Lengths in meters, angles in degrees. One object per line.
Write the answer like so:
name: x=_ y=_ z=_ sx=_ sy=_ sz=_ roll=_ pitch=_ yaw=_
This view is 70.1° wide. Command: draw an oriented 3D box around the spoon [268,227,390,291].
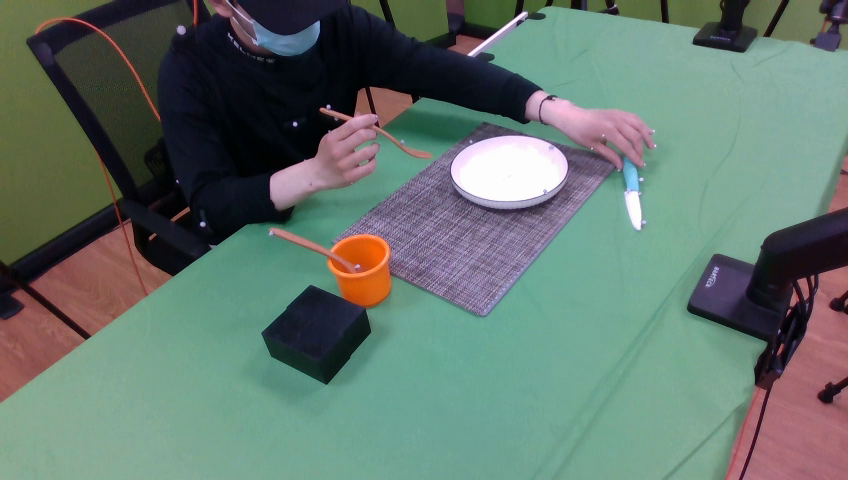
spoon: x=-0.132 y=0.025 z=0.862 sx=0.021 sy=0.195 sz=0.041 roll=-40 pitch=31 yaw=32

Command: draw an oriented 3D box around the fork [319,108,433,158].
fork: x=-0.072 y=-0.168 z=0.958 sx=0.209 sy=0.018 sz=0.028 roll=21 pitch=21 yaw=-33

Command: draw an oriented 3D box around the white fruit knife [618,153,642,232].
white fruit knife: x=0.353 y=-0.084 z=1.024 sx=0.027 sy=0.016 sz=0.206 roll=-18 pitch=39 yaw=26

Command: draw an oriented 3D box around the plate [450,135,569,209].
plate: x=0.150 y=-0.117 z=1.066 sx=0.209 sy=0.038 sz=0.208 roll=-3 pitch=40 yaw=3
